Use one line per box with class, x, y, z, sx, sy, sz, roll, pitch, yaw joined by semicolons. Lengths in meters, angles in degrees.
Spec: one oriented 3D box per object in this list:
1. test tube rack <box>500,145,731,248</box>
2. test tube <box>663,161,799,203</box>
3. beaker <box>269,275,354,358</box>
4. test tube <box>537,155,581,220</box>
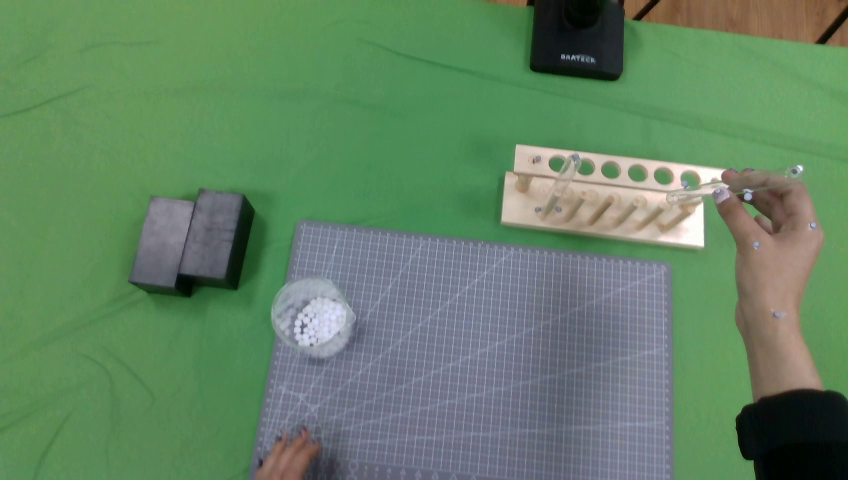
test tube rack;0.217;-0.048;0.705;0.242;0.085;0.066;7;72;0
test tube;0.267;-0.049;0.542;0.017;0.150;0.017;1;86;-16
beaker;-0.112;0.085;0.641;0.084;0.101;0.073;7;73;0
test tube;0.145;-0.054;0.658;0.017;0.151;0.017;0;72;-1
